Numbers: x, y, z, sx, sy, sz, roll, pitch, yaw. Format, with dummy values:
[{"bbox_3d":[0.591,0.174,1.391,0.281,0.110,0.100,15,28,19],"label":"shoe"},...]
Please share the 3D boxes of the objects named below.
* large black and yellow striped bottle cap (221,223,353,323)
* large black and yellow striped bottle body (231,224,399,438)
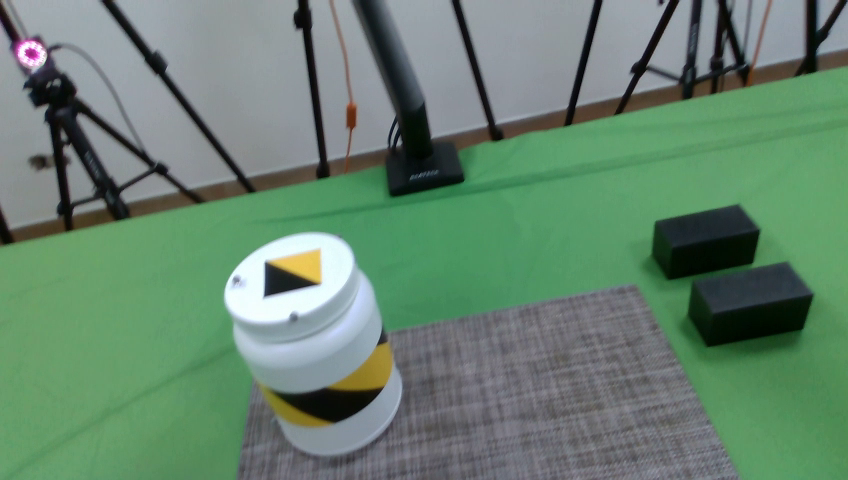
[{"bbox_3d":[-0.119,0.026,0.530,0.115,0.019,0.114,-6,39,6],"label":"large black and yellow striped bottle cap"},{"bbox_3d":[-0.104,0.088,0.584,0.130,0.186,0.129,-7,40,7],"label":"large black and yellow striped bottle body"}]
